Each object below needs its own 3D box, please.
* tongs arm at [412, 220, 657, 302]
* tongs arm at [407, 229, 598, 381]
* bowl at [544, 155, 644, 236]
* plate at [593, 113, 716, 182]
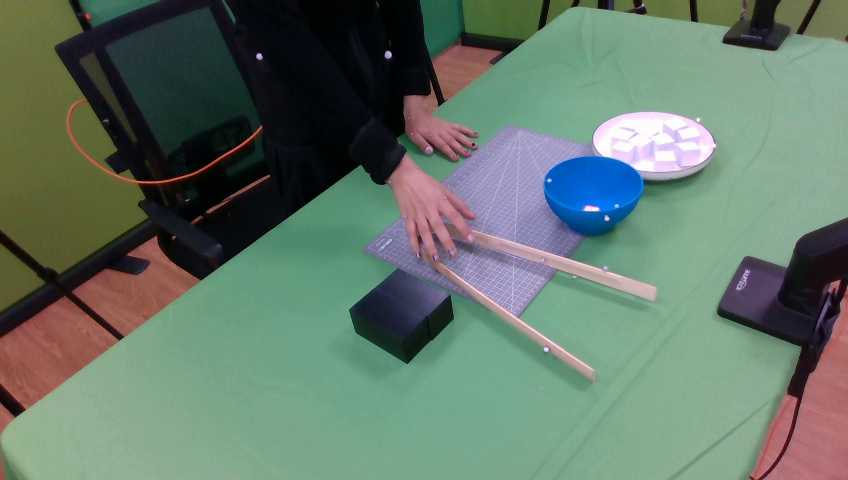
[{"bbox_3d":[0.149,0.031,0.906,0.382,0.026,0.051,20,52,30],"label":"tongs arm"},{"bbox_3d":[0.092,0.081,0.862,0.028,0.028,0.384,-38,47,-20],"label":"tongs arm"},{"bbox_3d":[0.266,-0.061,0.957,0.151,0.077,0.150,-5,40,5],"label":"bowl"},{"bbox_3d":[0.408,-0.163,1.084,0.207,0.039,0.206,-4,40,4],"label":"plate"}]
